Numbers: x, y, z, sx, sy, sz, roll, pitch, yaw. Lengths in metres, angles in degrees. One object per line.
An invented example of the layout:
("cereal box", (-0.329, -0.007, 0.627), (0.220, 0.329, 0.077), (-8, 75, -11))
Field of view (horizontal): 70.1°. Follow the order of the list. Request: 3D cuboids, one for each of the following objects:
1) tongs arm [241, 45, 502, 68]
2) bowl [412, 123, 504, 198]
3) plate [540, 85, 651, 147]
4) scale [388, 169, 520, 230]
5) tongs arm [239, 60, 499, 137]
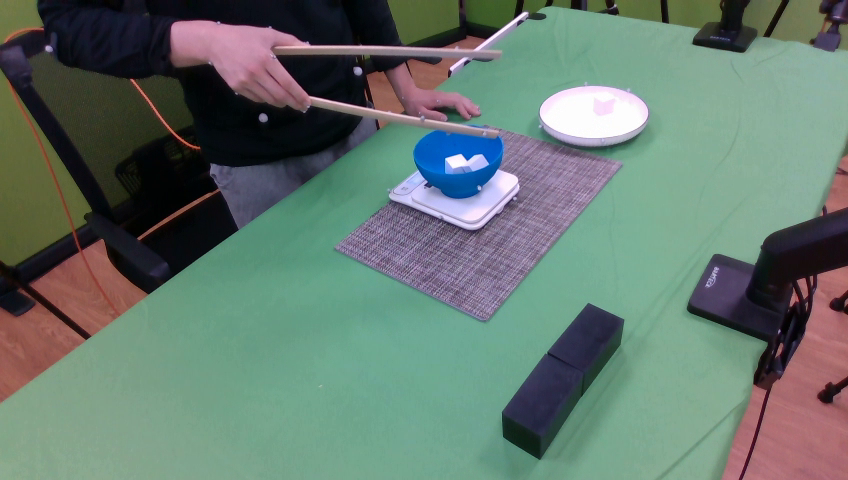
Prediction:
("tongs arm", (-0.073, -0.276, 0.904), (0.389, 0.027, 0.028), (-3, 85, -8))
("bowl", (0.060, -0.123, 1.007), (0.151, 0.077, 0.150), (-5, 41, 5))
("plate", (0.333, -0.238, 1.186), (0.207, 0.039, 0.206), (-4, 41, 4))
("scale", (0.050, -0.090, 1.052), (0.199, 0.032, 0.149), (24, 49, 31))
("tongs arm", (-0.077, -0.206, 0.890), (0.386, 0.026, 0.050), (8, 80, -6))
